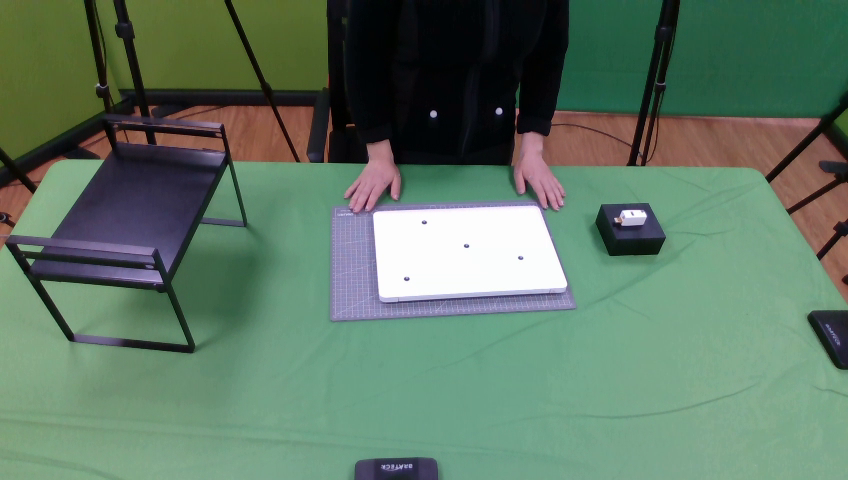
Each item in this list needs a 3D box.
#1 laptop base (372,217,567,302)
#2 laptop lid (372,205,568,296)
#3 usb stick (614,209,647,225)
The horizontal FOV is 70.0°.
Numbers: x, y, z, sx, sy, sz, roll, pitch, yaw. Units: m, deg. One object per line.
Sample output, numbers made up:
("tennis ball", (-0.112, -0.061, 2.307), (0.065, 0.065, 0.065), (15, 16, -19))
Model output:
("laptop base", (0.081, 0.024, 1.181), (0.355, 0.023, 0.234), (-3, 43, -6))
("laptop lid", (0.081, 0.014, 1.174), (0.357, 0.013, 0.240), (-1, 44, -5))
("usb stick", (0.407, -0.045, 1.195), (0.059, 0.027, 0.021), (-4, 48, -4))
